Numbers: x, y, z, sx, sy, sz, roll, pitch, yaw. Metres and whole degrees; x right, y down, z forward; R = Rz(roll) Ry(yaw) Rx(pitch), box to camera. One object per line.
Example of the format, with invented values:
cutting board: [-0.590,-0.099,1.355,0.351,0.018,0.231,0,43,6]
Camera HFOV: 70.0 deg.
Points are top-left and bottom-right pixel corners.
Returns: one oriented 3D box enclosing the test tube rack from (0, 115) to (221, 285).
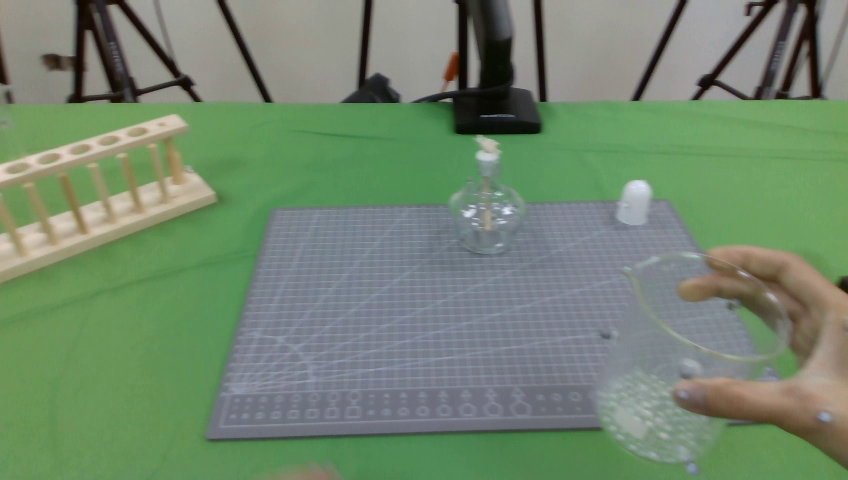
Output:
test tube rack: [-0.346,-0.045,0.625,0.242,0.086,0.066,-26,45,-29]

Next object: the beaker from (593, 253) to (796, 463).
beaker: [0.136,0.067,0.331,0.083,0.101,0.074,28,44,24]

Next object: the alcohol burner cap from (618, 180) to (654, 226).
alcohol burner cap: [0.229,-0.042,0.650,0.034,0.048,0.033,0,38,0]

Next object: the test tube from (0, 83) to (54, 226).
test tube: [-0.387,-0.077,0.587,0.017,0.151,0.017,3,35,-2]

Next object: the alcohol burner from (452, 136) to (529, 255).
alcohol burner: [0.066,-0.046,0.597,0.078,0.120,0.077,-1,37,1]
